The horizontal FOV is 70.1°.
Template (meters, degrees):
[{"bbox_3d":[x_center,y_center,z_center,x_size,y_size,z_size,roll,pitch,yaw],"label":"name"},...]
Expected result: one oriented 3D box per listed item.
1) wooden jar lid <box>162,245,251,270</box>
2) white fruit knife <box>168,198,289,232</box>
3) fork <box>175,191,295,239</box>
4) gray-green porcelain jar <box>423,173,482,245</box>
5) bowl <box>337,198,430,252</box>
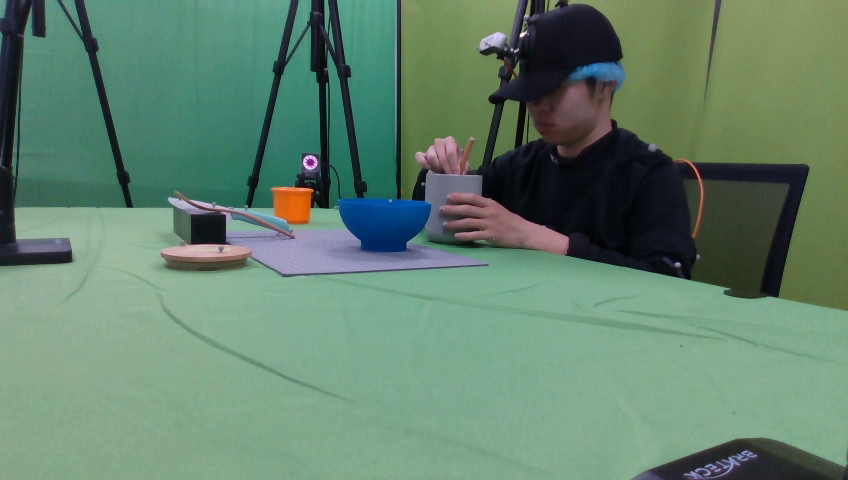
[{"bbox_3d":[-0.278,0.022,0.777,0.108,0.020,0.108,2,6,0],"label":"wooden jar lid"},{"bbox_3d":[-0.329,-0.044,1.036,0.208,0.027,0.016,14,-1,-32],"label":"white fruit knife"},{"bbox_3d":[-0.305,-0.039,0.993,0.208,0.018,0.028,19,-9,-34],"label":"fork"},{"bbox_3d":[0.052,-0.059,1.116,0.106,0.126,0.106,3,7,0],"label":"gray-green porcelain jar"},{"bbox_3d":[-0.066,-0.024,0.967,0.151,0.077,0.151,3,7,0],"label":"bowl"}]
